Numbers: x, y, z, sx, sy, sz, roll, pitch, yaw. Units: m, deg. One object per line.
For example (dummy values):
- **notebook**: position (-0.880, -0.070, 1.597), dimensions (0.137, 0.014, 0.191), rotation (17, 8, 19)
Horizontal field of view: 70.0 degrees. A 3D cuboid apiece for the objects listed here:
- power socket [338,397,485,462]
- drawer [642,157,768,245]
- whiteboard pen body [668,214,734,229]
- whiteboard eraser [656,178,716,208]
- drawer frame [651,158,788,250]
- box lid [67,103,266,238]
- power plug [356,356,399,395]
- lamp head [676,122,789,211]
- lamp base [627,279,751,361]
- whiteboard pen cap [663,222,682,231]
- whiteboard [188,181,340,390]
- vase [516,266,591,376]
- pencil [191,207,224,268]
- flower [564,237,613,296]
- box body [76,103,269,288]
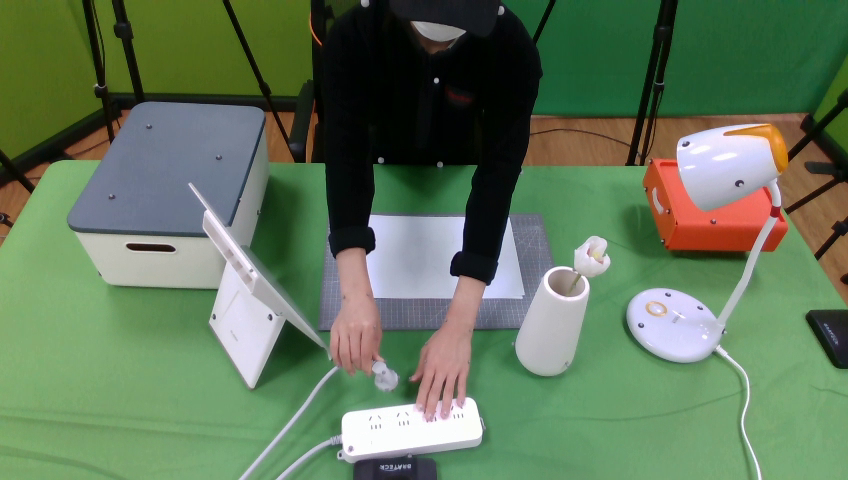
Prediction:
- **power socket**: position (-0.017, 0.285, 0.915), dimensions (0.227, 0.033, 0.071), rotation (-4, 46, -8)
- **drawer**: position (0.564, -0.075, 1.210), dimensions (0.212, 0.073, 0.193), rotation (3, 45, -1)
- **whiteboard pen body**: position (0.547, -0.035, 1.200), dimensions (0.141, 0.017, 0.017), rotation (-8, 48, -9)
- **whiteboard eraser**: position (0.538, -0.095, 1.251), dimensions (0.113, 0.042, 0.055), rotation (4, 52, -10)
- **drawer frame**: position (0.571, -0.074, 1.213), dimensions (0.214, 0.083, 0.200), rotation (1, 46, 0)
- **box lid**: position (-0.447, -0.137, 1.094), dimensions (0.263, 0.015, 0.369), rotation (2, 45, -2)
- **power plug**: position (-0.068, 0.204, 0.924), dimensions (0.035, 0.053, 0.072), rotation (-29, 46, -24)
- **lamp head**: position (0.423, -0.104, 0.819), dimensions (0.122, 0.113, 0.112), rotation (-13, 33, 39)
- **lamp base**: position (0.460, 0.100, 1.027), dimensions (0.178, 0.181, 0.160), rotation (27, 51, 17)
- **whiteboard pen cap**: position (0.488, -0.027, 1.188), dimensions (0.033, 0.018, 0.018), rotation (0, 46, -13)
- **whiteboard**: position (-0.292, 0.096, 0.929), dimensions (0.144, 0.307, 0.216), rotation (-38, 57, -10)
- **vase**: position (0.208, 0.132, 0.964), dimensions (0.098, 0.201, 0.097), rotation (3, 46, -3)
- **pencil**: position (-0.420, -0.009, 1.185), dimensions (0.012, 0.012, 0.193), rotation (4, 37, -1)
- **flower**: position (0.207, 0.088, 0.892), dimensions (0.038, 0.363, 0.044), rotation (-16, 67, -9)
- **box body**: position (-0.450, -0.087, 1.149), dimensions (0.254, 0.161, 0.361), rotation (2, 46, -2)
